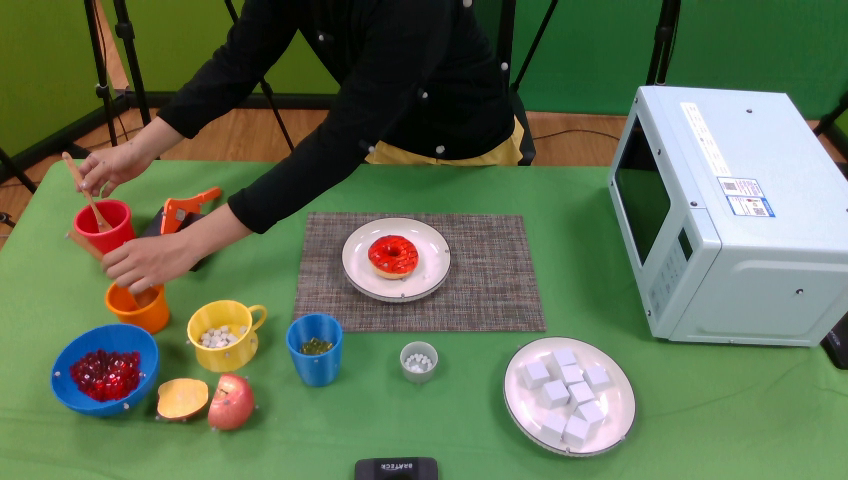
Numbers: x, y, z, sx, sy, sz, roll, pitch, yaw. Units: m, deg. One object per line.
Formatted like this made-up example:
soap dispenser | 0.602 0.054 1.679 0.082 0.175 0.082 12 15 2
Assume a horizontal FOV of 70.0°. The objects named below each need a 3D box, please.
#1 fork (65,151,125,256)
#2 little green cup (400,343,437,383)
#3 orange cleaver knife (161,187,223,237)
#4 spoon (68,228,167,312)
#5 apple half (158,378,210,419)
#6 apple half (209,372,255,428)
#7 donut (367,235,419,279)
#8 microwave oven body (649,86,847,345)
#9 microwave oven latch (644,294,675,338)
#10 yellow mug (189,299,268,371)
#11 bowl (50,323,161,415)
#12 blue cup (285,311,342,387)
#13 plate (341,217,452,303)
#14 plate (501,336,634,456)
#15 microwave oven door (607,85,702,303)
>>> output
fork | -0.611 -0.067 1.121 0.028 0.208 0.018 -26 13 -20
little green cup | -0.010 0.203 0.991 0.061 0.039 0.061 2 46 -2
orange cleaver knife | -0.448 -0.058 1.181 0.012 0.077 0.211 14 17 6
spoon | -0.495 0.049 0.985 0.021 0.195 0.041 -3 43 39
apple half | -0.366 0.247 0.926 0.081 0.033 0.081 8 31 -5
apple half | -0.282 0.243 0.908 0.053 0.075 0.080 8 42 -2
donut | -0.057 0.032 1.131 0.099 0.048 0.098 4 46 -3
microwave oven body | 0.568 -0.053 1.118 0.326 0.261 0.439 2 45 -1
microwave oven latch | 0.411 0.133 1.062 0.030 0.029 0.078 2 45 -1
yellow mug | -0.316 0.148 1.001 0.131 0.064 0.099 -32 57 -31
bowl | -0.472 0.209 0.923 0.151 0.077 0.150 2 45 -2
blue cup | -0.170 0.180 0.958 0.093 0.101 0.092 2 44 -1
plate | -0.052 0.039 1.140 0.209 0.038 0.208 2 46 -2
plate | 0.225 0.249 0.963 0.208 0.039 0.206 2 46 -2
microwave oven door | 0.423 -0.094 1.140 0.039 0.245 0.353 2 46 -1
